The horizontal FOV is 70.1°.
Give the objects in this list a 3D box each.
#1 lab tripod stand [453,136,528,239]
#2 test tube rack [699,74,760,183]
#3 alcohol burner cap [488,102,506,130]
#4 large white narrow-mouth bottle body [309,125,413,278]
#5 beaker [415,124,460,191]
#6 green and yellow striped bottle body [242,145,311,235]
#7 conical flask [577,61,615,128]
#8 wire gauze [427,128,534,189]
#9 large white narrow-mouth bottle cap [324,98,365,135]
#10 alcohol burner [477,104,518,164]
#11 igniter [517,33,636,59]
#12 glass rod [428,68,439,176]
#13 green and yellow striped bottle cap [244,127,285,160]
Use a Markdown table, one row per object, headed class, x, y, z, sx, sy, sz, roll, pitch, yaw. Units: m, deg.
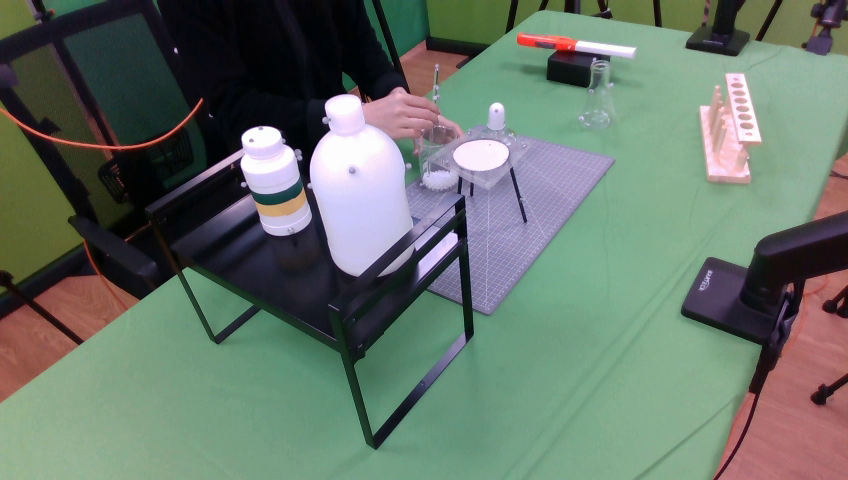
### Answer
| class | x | y | z | sx | sy | sz | roll | pitch | yaw |
| --- | --- | --- | --- | --- | --- | --- | --- | --- | --- |
| lab tripod stand | 0.095 | -0.086 | 0.974 | 0.148 | 0.132 | 0.147 | -4 | 43 | 4 |
| test tube rack | 0.547 | -0.208 | 1.095 | 0.066 | 0.085 | 0.242 | 6 | 42 | 16 |
| alcohol burner cap | 0.133 | -0.227 | 1.092 | 0.034 | 0.048 | 0.033 | -1 | 47 | 2 |
| large white narrow-mouth bottle body | -0.068 | -0.057 | 0.644 | 0.102 | 0.195 | 0.101 | -3 | 42 | 4 |
| beaker | 0.028 | -0.147 | 1.081 | 0.073 | 0.100 | 0.084 | 12 | 44 | 21 |
| green and yellow striped bottle body | -0.179 | -0.069 | 0.730 | 0.063 | 0.120 | 0.063 | -4 | 41 | 4 |
| conical flask | 0.343 | -0.288 | 1.188 | 0.075 | 0.122 | 0.075 | -4 | 41 | 4 |
| wire gauze | 0.086 | -0.131 | 0.924 | 0.124 | 0.011 | 0.122 | 26 | 52 | 33 |
| large white narrow-mouth bottle cap | -0.076 | -0.120 | 0.585 | 0.038 | 0.024 | 0.037 | -3 | 42 | 3 |
| alcohol burner | 0.135 | -0.200 | 1.117 | 0.078 | 0.119 | 0.077 | -4 | 43 | 4 |
| igniter | 0.336 | -0.441 | 1.369 | 0.275 | 0.025 | 0.057 | 16 | 41 | 23 |
| glass rod | 0.016 | -0.193 | 1.020 | 0.008 | 0.200 | 0.008 | 3 | 38 | -2 |
| green and yellow striped bottle cap | -0.183 | -0.111 | 0.694 | 0.045 | 0.020 | 0.045 | -1 | 42 | 1 |
